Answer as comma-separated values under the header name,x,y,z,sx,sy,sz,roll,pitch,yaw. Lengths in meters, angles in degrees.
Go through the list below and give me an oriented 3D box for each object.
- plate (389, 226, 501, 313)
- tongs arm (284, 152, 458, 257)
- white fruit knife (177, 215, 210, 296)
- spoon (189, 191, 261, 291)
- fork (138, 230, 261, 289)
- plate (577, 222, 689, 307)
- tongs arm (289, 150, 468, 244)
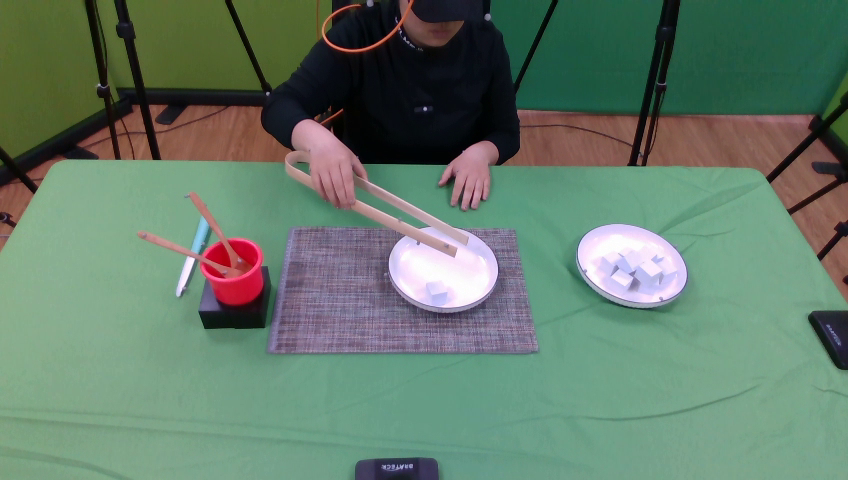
name,x,y,z,sx,sy,sz,roll,pitch,yaw
plate,0.038,0.057,1.129,0.208,0.039,0.206,2,46,-2
tongs arm,-0.103,-0.070,1.110,0.384,0.026,0.050,25,46,13
white fruit knife,-0.435,0.025,1.148,0.027,0.016,0.206,-18,45,18
spoon,-0.333,0.001,1.012,0.041,0.194,0.021,-34,15,-25
fork,-0.359,0.032,0.981,0.208,0.018,0.028,31,60,-30
plate,0.396,0.050,1.165,0.209,0.038,0.208,2,47,-2
tongs arm,-0.089,-0.084,1.128,0.386,0.028,0.028,27,51,15
